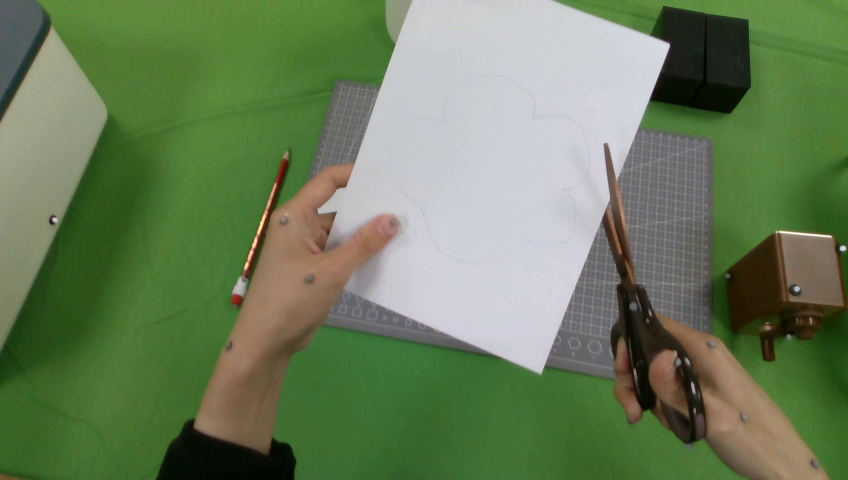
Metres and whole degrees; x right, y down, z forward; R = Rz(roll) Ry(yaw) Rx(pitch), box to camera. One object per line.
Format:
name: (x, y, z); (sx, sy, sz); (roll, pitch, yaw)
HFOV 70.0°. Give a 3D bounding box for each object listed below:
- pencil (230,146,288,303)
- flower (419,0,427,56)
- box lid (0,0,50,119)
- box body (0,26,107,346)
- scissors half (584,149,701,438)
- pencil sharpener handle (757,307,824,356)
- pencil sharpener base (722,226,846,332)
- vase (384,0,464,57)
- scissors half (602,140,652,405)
pencil: (-0.177, -0.022, 0.661); (0.012, 0.012, 0.193); (11, 66, 5)
flower: (-0.006, -0.346, 0.604); (0.044, 0.365, 0.038); (3, 49, 5)
box lid: (-0.512, -0.085, 0.519); (0.263, 0.015, 0.369); (10, 67, 3)
box body: (-0.512, -0.053, 0.588); (0.254, 0.161, 0.361); (10, 67, 4)
scissors half: (0.121, 0.024, 0.347); (0.013, 0.040, 0.174); (-13, 71, -6)
pencil sharpener handle: (0.332, 0.085, 0.552); (0.036, 0.068, 0.030); (11, 67, -10)
pencil sharpener base: (0.341, 0.044, 0.583); (0.061, 0.108, 0.076); (6, 68, 2)
vase: (-0.001, -0.300, 0.675); (0.098, 0.201, 0.097); (0, 66, 1)
scissors half: (0.120, 0.024, 0.372); (0.013, 0.039, 0.176); (-13, 111, -1)
